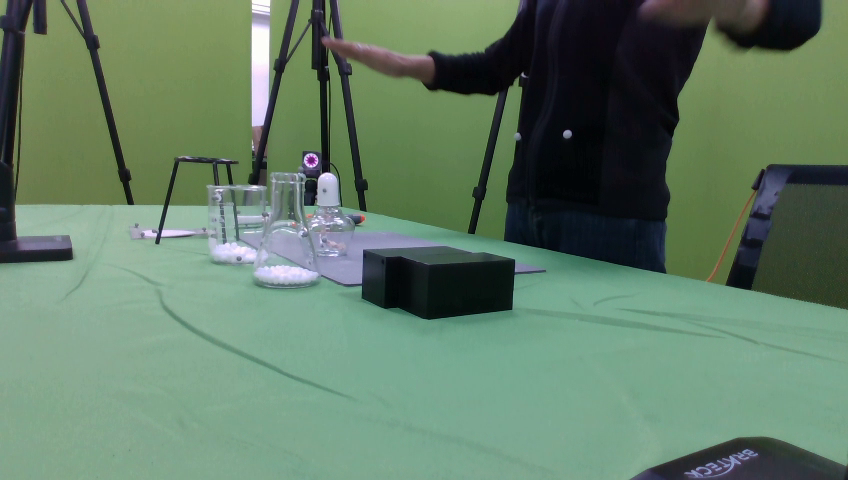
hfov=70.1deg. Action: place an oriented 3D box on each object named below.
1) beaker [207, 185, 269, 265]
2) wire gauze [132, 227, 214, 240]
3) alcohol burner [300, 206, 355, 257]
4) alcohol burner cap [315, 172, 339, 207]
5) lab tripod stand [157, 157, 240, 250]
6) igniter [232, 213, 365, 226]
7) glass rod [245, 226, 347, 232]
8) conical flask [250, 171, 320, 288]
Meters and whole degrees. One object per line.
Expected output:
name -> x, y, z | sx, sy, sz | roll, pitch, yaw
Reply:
beaker -> -0.244, -0.021, 0.784 | 0.083, 0.100, 0.074 | 6, 8, 30
wire gauze -> -0.425, -0.013, 1.018 | 0.122, 0.011, 0.124 | -1, 6, -28
alcohol burner -> -0.137, -0.037, 0.858 | 0.078, 0.119, 0.078 | 0, 7, 0
alcohol burner cap -> -0.137, -0.072, 0.852 | 0.034, 0.048, 0.034 | 1, 14, 0
lab tripod stand -> -0.322, -0.057, 0.905 | 0.148, 0.131, 0.148 | 4, 7, 0
igniter -> -0.246, -0.042, 1.223 | 0.278, 0.025, 0.057 | -3, -1, -36
glass rod -> -0.236, -0.021, 1.140 | 0.201, 0.008, 0.008 | -2, 8, -33
conical flask -> -0.150, -0.013, 0.658 | 0.075, 0.122, 0.075 | 2, 7, 0
